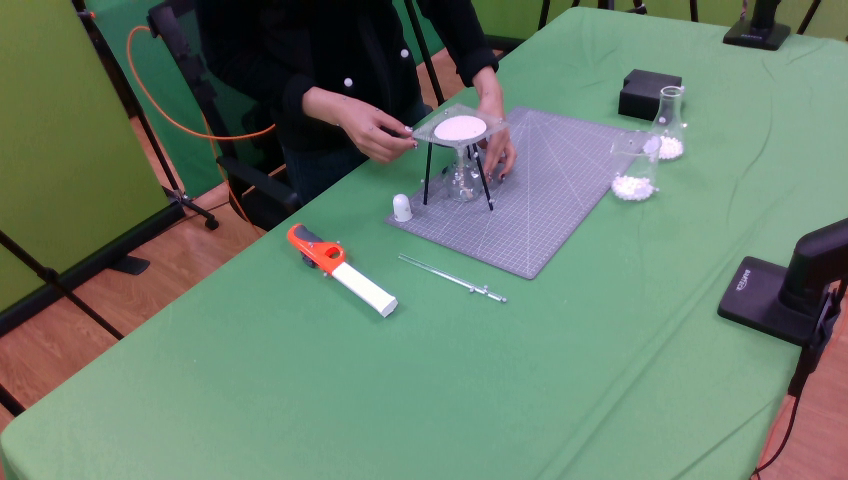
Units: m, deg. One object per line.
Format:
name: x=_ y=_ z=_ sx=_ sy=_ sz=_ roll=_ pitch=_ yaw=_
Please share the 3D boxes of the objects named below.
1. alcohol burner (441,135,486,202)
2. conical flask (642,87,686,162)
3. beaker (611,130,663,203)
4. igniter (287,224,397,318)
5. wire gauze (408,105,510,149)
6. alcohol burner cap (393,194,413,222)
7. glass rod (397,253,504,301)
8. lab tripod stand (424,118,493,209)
alcohol burner: x=0.067 y=-0.127 z=1.046 sx=0.078 sy=0.119 sz=0.077 roll=-5 pitch=38 yaw=4
conical flask: x=0.429 y=-0.206 z=1.067 sx=0.075 sy=0.122 sz=0.075 roll=-6 pitch=40 yaw=6
beaker: x=0.346 y=-0.118 z=0.998 sx=0.084 sy=0.101 sz=0.073 roll=-17 pitch=40 yaw=-7
igniter: x=-0.139 y=0.042 z=0.958 sx=0.057 sy=0.025 sz=0.274 roll=-42 pitch=49 yaw=-19
wire gauze: x=0.057 y=-0.185 z=0.996 sx=0.125 sy=0.011 sz=0.120 roll=-34 pitch=44 yaw=-31
alcohol burner cap: x=-0.039 y=-0.057 z=1.038 sx=0.034 sy=0.048 sz=0.033 roll=-5 pitch=40 yaw=5
glass rod: x=0.036 y=0.054 z=0.922 sx=0.198 sy=0.008 sz=0.008 roll=22 pitch=50 yaw=31
lab tripod stand: x=0.060 y=-0.133 z=1.039 sx=0.148 sy=0.132 sz=0.147 roll=-6 pitch=38 yaw=6
